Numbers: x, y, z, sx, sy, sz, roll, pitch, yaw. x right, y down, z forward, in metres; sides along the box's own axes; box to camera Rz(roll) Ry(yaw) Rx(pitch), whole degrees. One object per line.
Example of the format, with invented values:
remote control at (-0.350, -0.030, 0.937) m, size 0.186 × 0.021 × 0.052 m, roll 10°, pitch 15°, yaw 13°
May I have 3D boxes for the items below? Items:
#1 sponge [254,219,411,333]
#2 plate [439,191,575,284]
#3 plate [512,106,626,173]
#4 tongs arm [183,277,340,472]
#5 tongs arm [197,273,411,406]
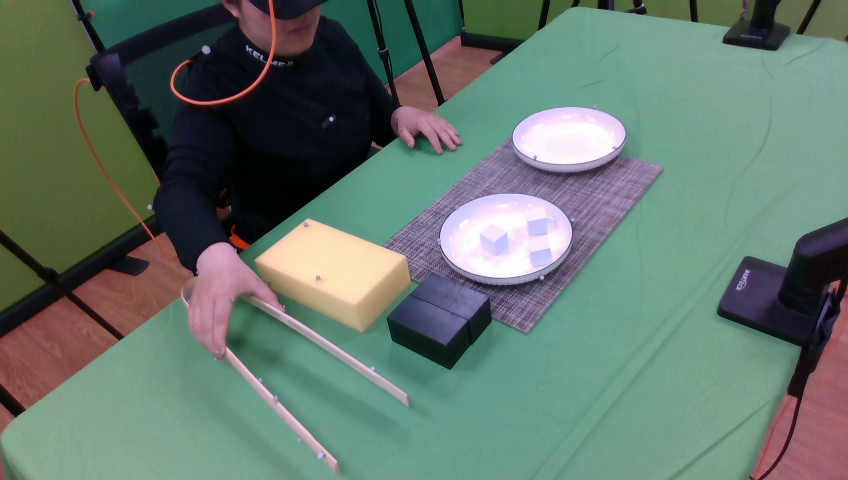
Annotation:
sponge at (-0.139, 0.048, 0.922) m, size 0.205 × 0.061 × 0.118 m, roll 19°, pitch 47°, yaw 30°
plate at (0.129, -0.001, 0.942) m, size 0.207 × 0.039 × 0.206 m, roll -5°, pitch 40°, yaw 5°
plate at (0.269, -0.185, 1.132) m, size 0.209 × 0.038 × 0.208 m, roll -5°, pitch 40°, yaw 5°
tongs arm at (-0.215, 0.157, 0.779) m, size 0.381 × 0.026 × 0.051 m, roll 31°, pitch 54°, yaw 33°
tongs arm at (-0.172, 0.125, 0.813) m, size 0.384 × 0.028 × 0.028 m, roll 24°, pitch 54°, yaw 28°
